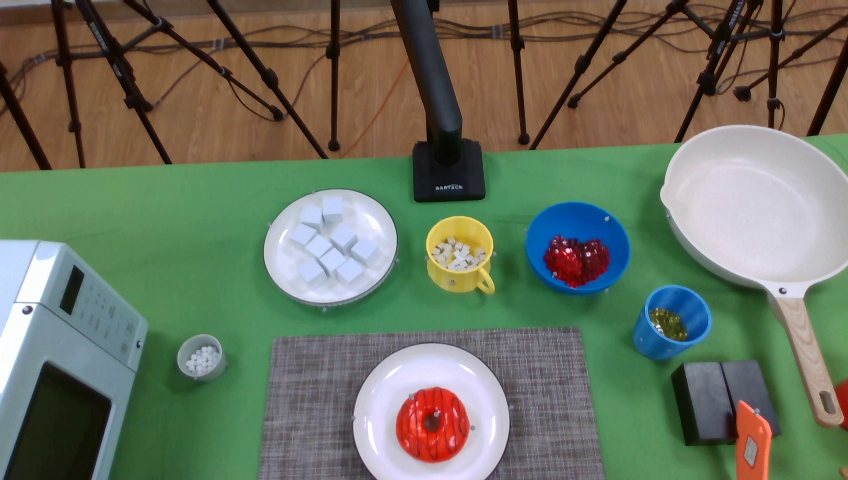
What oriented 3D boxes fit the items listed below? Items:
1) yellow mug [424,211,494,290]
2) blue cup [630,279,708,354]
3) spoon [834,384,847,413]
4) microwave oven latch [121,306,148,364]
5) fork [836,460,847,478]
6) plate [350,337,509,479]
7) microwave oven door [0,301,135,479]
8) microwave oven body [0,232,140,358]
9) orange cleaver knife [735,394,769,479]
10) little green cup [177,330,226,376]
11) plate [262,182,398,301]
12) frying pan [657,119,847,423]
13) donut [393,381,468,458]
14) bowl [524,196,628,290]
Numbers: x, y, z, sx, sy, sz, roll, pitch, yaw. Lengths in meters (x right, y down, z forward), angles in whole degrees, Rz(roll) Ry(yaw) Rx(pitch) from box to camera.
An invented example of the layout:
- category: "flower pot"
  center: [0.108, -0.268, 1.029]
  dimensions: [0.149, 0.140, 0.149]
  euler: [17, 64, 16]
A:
- category: "yellow mug"
  center: [0.061, 0.025, 0.912]
  dimensions: [0.100, 0.064, 0.130]
  euler: [-36, 66, -17]
- category: "blue cup"
  center: [0.328, 0.113, 0.836]
  dimensions: [0.092, 0.101, 0.092]
  euler: [0, 62, 0]
- category: "spoon"
  center: [0.626, 0.194, 0.759]
  dimensions: [0.193, 0.022, 0.041]
  euler: [-20, 48, 42]
- category: "microwave oven latch"
  center: [-0.416, 0.134, 0.856]
  dimensions: [0.030, 0.030, 0.078]
  euler: [3, 62, 2]
- category: "fork"
  center: [0.521, 0.305, 0.696]
  dimensions: [0.209, 0.018, 0.028]
  euler: [44, 62, -25]
- category: "plate"
  center: [0.007, 0.233, 0.808]
  dimensions: [0.209, 0.038, 0.207]
  euler: [0, 61, 1]
- category: "microwave oven door"
  center: [-0.427, 0.274, 0.661]
  dimensions: [0.039, 0.246, 0.352]
  euler: [1, 60, 2]
- category: "microwave oven body"
  center: [-0.571, 0.238, 0.691]
  dimensions: [0.326, 0.262, 0.438]
  euler: [1, 61, 1]
- category: "orange cleaver knife"
  center: [0.402, 0.299, 0.742]
  dimensions: [0.012, 0.077, 0.211]
  euler: [-3, 90, 0]
- category: "little green cup"
  center: [-0.312, 0.162, 0.858]
  dimensions: [0.061, 0.039, 0.061]
  euler: [-1, 62, 2]
- category: "plate"
  center: [-0.144, 0.004, 0.944]
  dimensions: [0.208, 0.039, 0.206]
  euler: [0, 61, 1]
- category: "frying pan"
  center: [0.503, 0.026, 0.879]
  dimensions: [0.307, 0.103, 0.483]
  euler: [2, 53, 4]
- category: "donut"
  center: [0.008, 0.235, 0.794]
  dimensions: [0.099, 0.048, 0.098]
  euler: [-1, 64, 3]
- category: "bowl"
  center: [0.220, 0.017, 0.906]
  dimensions: [0.151, 0.077, 0.150]
  euler: [-1, 61, 1]
